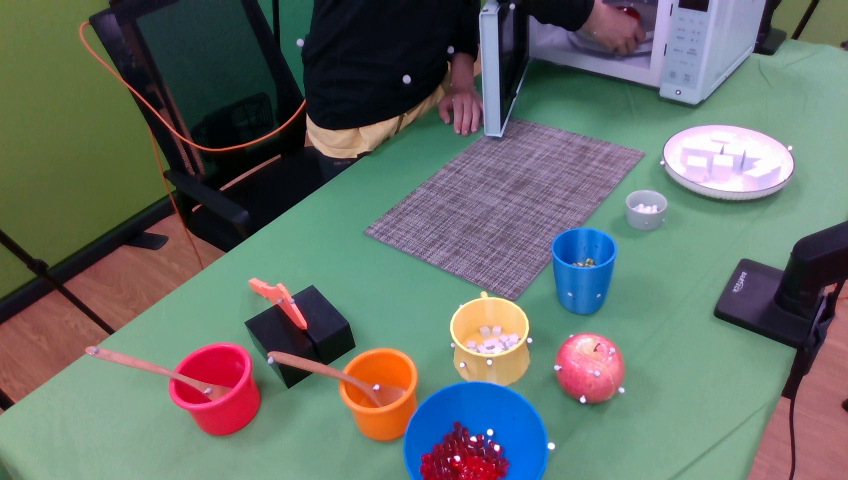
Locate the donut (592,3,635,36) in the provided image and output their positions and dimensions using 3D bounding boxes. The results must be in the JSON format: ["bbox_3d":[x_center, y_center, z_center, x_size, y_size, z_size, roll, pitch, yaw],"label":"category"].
[{"bbox_3d":[0.423,-0.497,1.356,0.099,0.048,0.098,9,47,-9],"label":"donut"}]

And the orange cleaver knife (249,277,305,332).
[{"bbox_3d":[-0.210,0.089,0.855,0.012,0.077,0.210,-28,15,-25],"label":"orange cleaver knife"}]

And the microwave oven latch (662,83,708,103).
[{"bbox_3d":[0.518,-0.297,1.204,0.078,0.029,0.030,29,53,36],"label":"microwave oven latch"}]

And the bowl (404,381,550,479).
[{"bbox_3d":[0.058,0.235,0.645,0.151,0.077,0.150,-4,39,4],"label":"bowl"}]

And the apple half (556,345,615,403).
[{"bbox_3d":[0.181,0.167,0.709,0.080,0.081,0.033,30,50,35],"label":"apple half"}]

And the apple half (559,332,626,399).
[{"bbox_3d":[0.209,0.147,0.730,0.080,0.075,0.053,26,48,38],"label":"apple half"}]

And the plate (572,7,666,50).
[{"bbox_3d":[0.438,-0.478,1.373,0.209,0.038,0.208,3,39,-2],"label":"plate"}]

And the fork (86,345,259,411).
[{"bbox_3d":[-0.298,0.166,0.728,0.209,0.018,0.028,28,47,-23],"label":"fork"}]

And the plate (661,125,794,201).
[{"bbox_3d":[0.513,-0.128,1.035,0.207,0.039,0.206,-4,40,4],"label":"plate"}]

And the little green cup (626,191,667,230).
[{"bbox_3d":[0.352,-0.046,0.963,0.061,0.039,0.061,-4,40,4],"label":"little green cup"}]

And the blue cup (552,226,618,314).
[{"bbox_3d":[0.218,0.047,0.825,0.092,0.101,0.092,-6,40,5],"label":"blue cup"}]

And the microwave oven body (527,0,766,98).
[{"bbox_3d":[0.472,-0.513,1.317,0.438,0.261,0.327,26,51,34],"label":"microwave oven body"}]

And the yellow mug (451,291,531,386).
[{"bbox_3d":[0.086,0.120,0.786,0.100,0.064,0.130,-7,39,1],"label":"yellow mug"}]

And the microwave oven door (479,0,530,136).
[{"bbox_3d":[0.170,-0.408,1.232,0.039,0.245,0.355,6,42,16],"label":"microwave oven door"}]

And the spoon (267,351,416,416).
[{"bbox_3d":[-0.091,0.162,0.699,0.021,0.195,0.041,-45,30,26],"label":"spoon"}]
